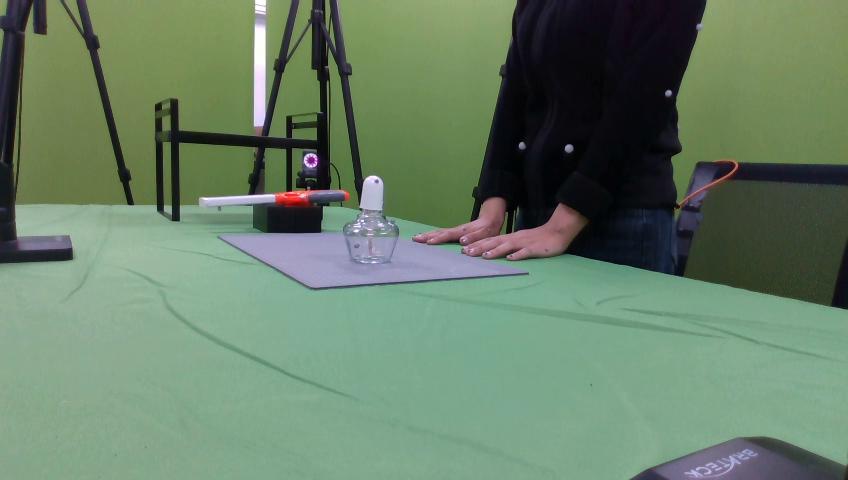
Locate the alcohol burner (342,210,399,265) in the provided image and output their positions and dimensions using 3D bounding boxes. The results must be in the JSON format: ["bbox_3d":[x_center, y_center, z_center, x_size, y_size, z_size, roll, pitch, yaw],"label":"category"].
[{"bbox_3d":[-0.073,-0.027,0.818,0.078,0.119,0.078,1,6,0],"label":"alcohol burner"}]

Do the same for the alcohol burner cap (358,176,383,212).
[{"bbox_3d":[-0.070,-0.063,0.814,0.034,0.048,0.034,9,9,-1],"label":"alcohol burner cap"}]

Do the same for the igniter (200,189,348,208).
[{"bbox_3d":[-0.275,-0.079,1.142,0.278,0.025,0.057,-6,11,-32],"label":"igniter"}]
